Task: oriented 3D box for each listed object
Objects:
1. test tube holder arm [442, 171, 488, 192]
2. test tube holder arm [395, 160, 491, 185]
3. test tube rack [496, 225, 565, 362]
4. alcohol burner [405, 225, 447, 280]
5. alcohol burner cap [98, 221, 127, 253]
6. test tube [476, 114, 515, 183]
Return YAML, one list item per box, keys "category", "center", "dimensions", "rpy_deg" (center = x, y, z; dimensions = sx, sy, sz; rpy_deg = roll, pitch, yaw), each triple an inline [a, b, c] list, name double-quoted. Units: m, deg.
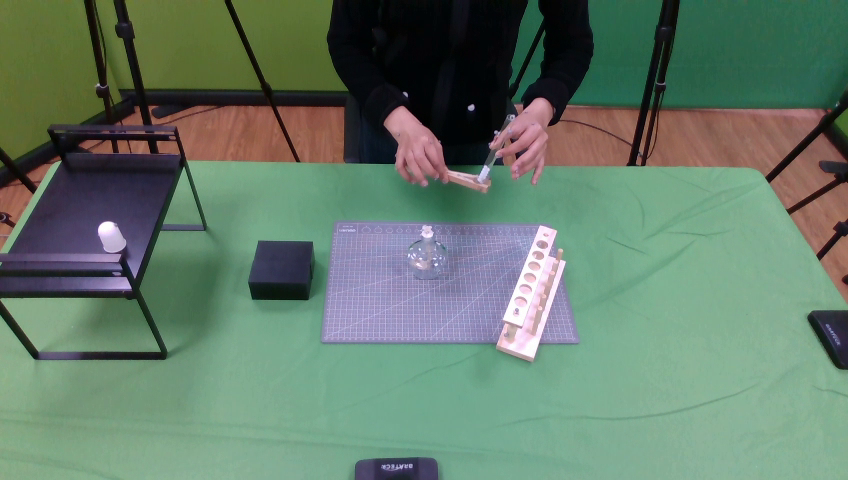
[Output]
- category: "test tube holder arm"
  center: [0.073, -0.107, 1.088]
  dimensions: [0.087, 0.015, 0.010]
  rpy_deg: [22, 47, 19]
- category: "test tube holder arm"
  center: [0.033, -0.122, 1.101]
  dimensions: [0.178, 0.015, 0.013]
  rpy_deg: [12, 43, 9]
- category: "test tube rack"
  center: [0.200, 0.089, 1.081]
  dimensions: [0.066, 0.085, 0.241]
  rpy_deg: [19, 48, 13]
- category: "alcohol burner"
  center: [0.005, 0.017, 1.115]
  dimensions: [0.078, 0.120, 0.077]
  rpy_deg: [1, 47, -1]
- category: "alcohol burner cap"
  center: [-0.468, -0.007, 0.905]
  dimensions: [0.034, 0.048, 0.033]
  rpy_deg: [3, 46, -3]
- category: "test tube"
  center: [0.119, -0.152, 1.034]
  dimensions: [0.017, 0.151, 0.017]
  rpy_deg: [11, 46, -12]
